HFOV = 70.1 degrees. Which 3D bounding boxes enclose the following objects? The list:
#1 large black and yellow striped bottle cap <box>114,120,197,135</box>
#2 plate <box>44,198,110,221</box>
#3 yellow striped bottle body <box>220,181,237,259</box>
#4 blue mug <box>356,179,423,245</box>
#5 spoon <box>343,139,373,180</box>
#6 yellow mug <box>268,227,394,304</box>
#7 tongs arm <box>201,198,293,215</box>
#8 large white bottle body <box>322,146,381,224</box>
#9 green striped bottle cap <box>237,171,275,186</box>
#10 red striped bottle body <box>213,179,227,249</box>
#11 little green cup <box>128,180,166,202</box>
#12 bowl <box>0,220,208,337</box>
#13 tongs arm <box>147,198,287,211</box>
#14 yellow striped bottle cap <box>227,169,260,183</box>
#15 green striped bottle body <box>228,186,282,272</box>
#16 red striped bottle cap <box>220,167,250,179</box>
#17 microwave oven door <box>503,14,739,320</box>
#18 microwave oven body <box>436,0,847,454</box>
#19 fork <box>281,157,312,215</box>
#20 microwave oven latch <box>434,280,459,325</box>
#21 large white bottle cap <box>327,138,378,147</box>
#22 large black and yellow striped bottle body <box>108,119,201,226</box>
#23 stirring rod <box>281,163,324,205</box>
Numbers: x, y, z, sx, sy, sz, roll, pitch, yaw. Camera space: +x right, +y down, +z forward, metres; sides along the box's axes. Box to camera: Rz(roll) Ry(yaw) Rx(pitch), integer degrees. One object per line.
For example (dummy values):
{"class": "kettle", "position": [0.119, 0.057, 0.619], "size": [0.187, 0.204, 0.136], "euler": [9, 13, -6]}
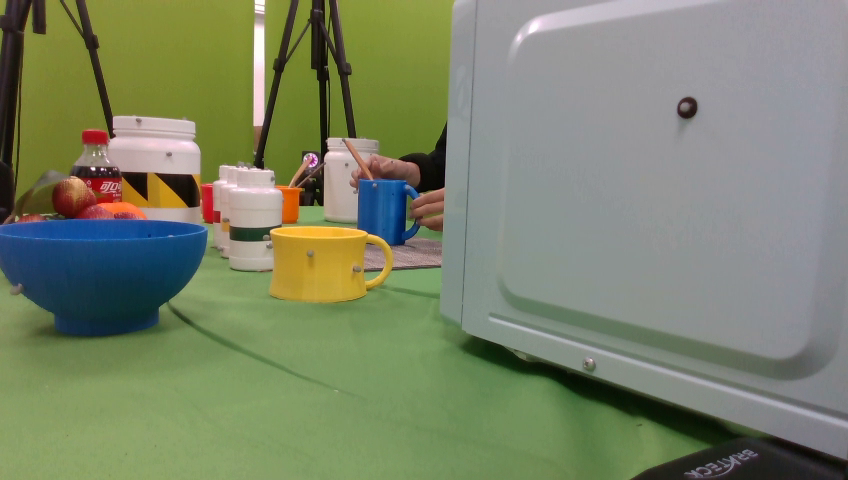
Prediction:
{"class": "large black and yellow striped bottle cap", "position": [-0.407, -0.171, 0.920], "size": [0.115, 0.019, 0.115], "euler": [2, 9, 0]}
{"class": "plate", "position": [-0.617, -0.056, 1.179], "size": [0.209, 0.038, 0.209], "euler": [3, 7, 0]}
{"class": "yellow striped bottle body", "position": [-0.246, -0.036, 0.825], "size": [0.063, 0.120, 0.063], "euler": [3, 8, 0]}
{"class": "blue mug", "position": [-0.056, -0.046, 1.005], "size": [0.116, 0.106, 0.082], "euler": [6, 8, 22]}
{"class": "spoon", "position": [-0.090, -0.094, 1.024], "size": [0.021, 0.193, 0.042], "euler": [-34, -16, 28]}
{"class": "yellow mug", "position": [-0.094, 0.023, 0.630], "size": [0.131, 0.064, 0.099], "euler": [0, 8, -22]}
{"class": "tongs arm", "position": [-0.423, -0.084, 1.473], "size": [0.050, 0.026, 0.386], "euler": [2, 6, 21]}
{"class": "large white bottle body", "position": [-0.163, -0.134, 1.368], "size": [0.131, 0.184, 0.130], "euler": [2, 7, 0]}
{"class": "green striped bottle cap", "position": [-0.206, -0.075, 0.738], "size": [0.044, 0.020, 0.044], "euler": [1, 9, 0]}
{"class": "red striped bottle body", "position": [-0.284, -0.048, 0.909], "size": [0.063, 0.119, 0.063], "euler": [3, 10, 0]}
{"class": "little green cup", "position": [-0.485, -0.087, 1.062], "size": [0.061, 0.038, 0.061], "euler": [0, 6, 0]}
{"class": "bowl", "position": [-0.251, 0.029, 0.479], "size": [0.151, 0.077, 0.151], "euler": [2, 7, 0]}
{"class": "tongs arm", "position": [-0.504, -0.091, 1.513], "size": [0.028, 0.028, 0.389], "euler": [-1, 4, 37]}
{"class": "yellow striped bottle cap", "position": [-0.243, -0.086, 0.818], "size": [0.044, 0.018, 0.044], "euler": [3, 7, 0]}
{"class": "green striped bottle body", "position": [-0.208, -0.023, 0.745], "size": [0.063, 0.119, 0.063], "euler": [2, 7, 0]}
{"class": "red striped bottle cap", "position": [-0.281, -0.100, 0.901], "size": [0.044, 0.017, 0.044], "euler": [-1, 5, 0]}
{"class": "microwave oven door", "position": [0.218, -0.065, 0.600], "size": [0.358, 0.243, 0.039], "euler": [-4, 10, -41]}
{"class": "microwave oven body", "position": [0.279, -0.040, 0.464], "size": [0.444, 0.260, 0.324], "euler": [-3, 9, -41]}
{"class": "fork", "position": [-0.289, -0.116, 1.321], "size": [0.028, 0.019, 0.207], "euler": [6, 51, 19]}
{"class": "microwave oven latch", "position": [0.044, 0.045, 0.470], "size": [0.079, 0.029, 0.030], "euler": [-2, 8, -39]}
{"class": "large white bottle cap", "position": [-0.160, -0.218, 1.357], "size": [0.115, 0.018, 0.115], "euler": [2, 8, 0]}
{"class": "large black and yellow striped bottle body", "position": [-0.412, -0.088, 0.930], "size": [0.131, 0.184, 0.130], "euler": [3, 7, 0]}
{"class": "stirring rod", "position": [-0.278, -0.105, 1.293], "size": [0.176, 0.006, 0.014], "euler": [-47, 24, -18]}
